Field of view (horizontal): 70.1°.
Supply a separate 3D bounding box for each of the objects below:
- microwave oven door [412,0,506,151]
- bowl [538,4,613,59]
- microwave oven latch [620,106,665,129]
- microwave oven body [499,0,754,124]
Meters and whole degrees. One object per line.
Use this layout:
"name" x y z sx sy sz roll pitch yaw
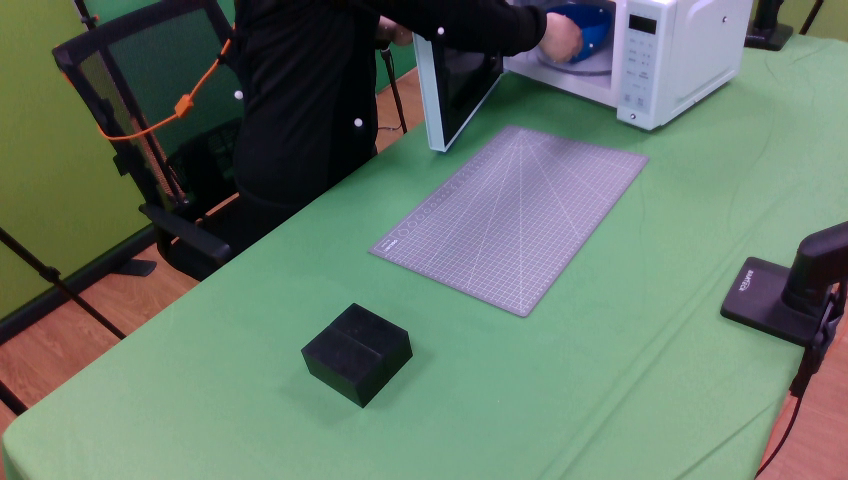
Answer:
"microwave oven door" 0.083 -0.377 1.218 0.039 0.245 0.356 12 44 24
"bowl" 0.315 -0.432 1.272 0.151 0.077 0.150 -3 39 3
"microwave oven latch" 0.413 -0.237 1.146 0.030 0.029 0.078 -31 44 -23
"microwave oven body" 0.402 -0.458 1.259 0.327 0.261 0.437 -33 45 -24
